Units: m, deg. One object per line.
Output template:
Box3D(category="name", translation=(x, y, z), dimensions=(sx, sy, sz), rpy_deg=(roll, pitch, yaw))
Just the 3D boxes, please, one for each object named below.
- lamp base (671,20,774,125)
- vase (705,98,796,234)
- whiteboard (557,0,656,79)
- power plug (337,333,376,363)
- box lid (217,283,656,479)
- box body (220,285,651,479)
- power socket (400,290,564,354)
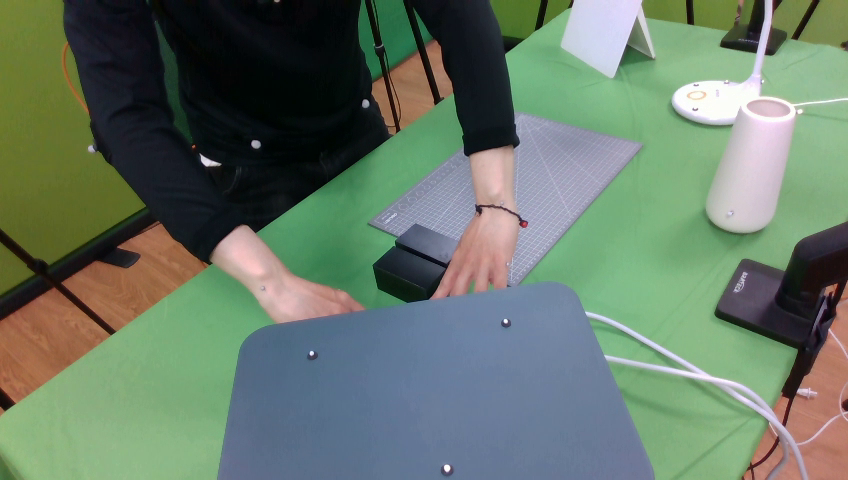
Box3D(category="lamp base", translation=(0.581, -0.332, 1.154), dimensions=(0.179, 0.181, 0.160), rpy_deg=(2, 42, 7))
Box3D(category="vase", translation=(0.480, -0.103, 0.889), dimensions=(0.098, 0.201, 0.097), rpy_deg=(-4, 42, 4))
Box3D(category="whiteboard", translation=(0.462, -0.542, 1.367), dimensions=(0.145, 0.306, 0.215), rpy_deg=(-3, 36, -25))
Box3D(category="power plug", translation=(-0.088, 0.152, 0.795), dimensions=(0.035, 0.053, 0.072), rpy_deg=(-36, 55, -8))
Box3D(category="box lid", translation=(-0.004, 0.155, 0.568), dimensions=(0.372, 0.015, 0.261), rpy_deg=(-8, 39, -2))
Box3D(category="box body", translation=(0.005, 0.211, 0.616), dimensions=(0.364, 0.161, 0.252), rpy_deg=(-9, 40, -2))
Box3D(category="power socket", translation=(0.079, 0.111, 0.823), dimensions=(0.227, 0.033, 0.072), rpy_deg=(-6, 41, 1))
